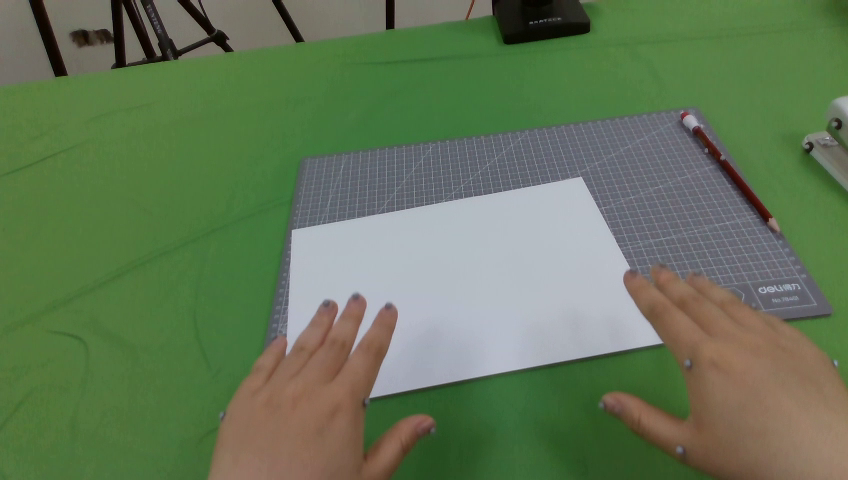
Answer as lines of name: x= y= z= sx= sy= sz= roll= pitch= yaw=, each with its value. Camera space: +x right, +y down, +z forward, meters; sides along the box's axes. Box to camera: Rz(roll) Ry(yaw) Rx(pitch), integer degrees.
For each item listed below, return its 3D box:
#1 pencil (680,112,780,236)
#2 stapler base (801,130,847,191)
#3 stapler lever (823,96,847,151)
pencil: x=0.293 y=-0.070 z=0.588 sx=0.012 sy=0.012 sz=0.192 roll=-10 pitch=45 yaw=0
stapler base: x=0.404 y=-0.069 z=0.561 sx=0.041 sy=0.025 sz=0.129 roll=-12 pitch=45 yaw=1
stapler lever: x=0.402 y=-0.086 z=0.542 sx=0.027 sy=0.040 sz=0.117 roll=-12 pitch=46 yaw=1
